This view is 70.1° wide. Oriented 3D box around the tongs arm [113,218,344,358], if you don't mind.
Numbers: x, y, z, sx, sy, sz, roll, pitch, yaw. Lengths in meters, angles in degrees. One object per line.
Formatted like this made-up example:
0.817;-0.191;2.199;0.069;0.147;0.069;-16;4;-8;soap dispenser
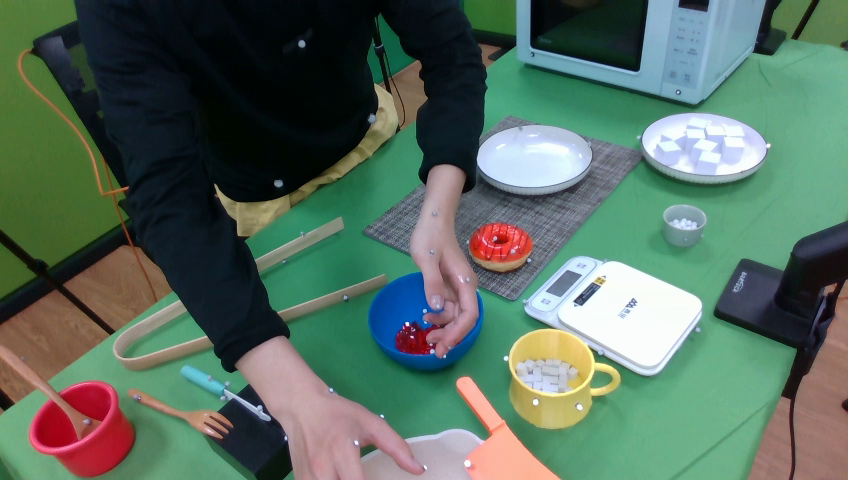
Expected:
-0.280;0.067;0.926;0.386;0.026;0.050;-29;49;-23;tongs arm

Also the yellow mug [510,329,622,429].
0.169;0.164;0.721;0.130;0.064;0.099;0;40;8;yellow mug

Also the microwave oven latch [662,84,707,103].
0.517;-0.296;1.204;0.078;0.029;0.030;27;52;35;microwave oven latch

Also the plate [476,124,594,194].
0.199;-0.142;1.093;0.209;0.038;0.208;-4;40;4;plate

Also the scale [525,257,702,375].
0.254;0.091;0.821;0.199;0.032;0.149;28;51;35;scale

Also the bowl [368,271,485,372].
0.007;0.119;0.791;0.151;0.077;0.150;-5;39;4;bowl

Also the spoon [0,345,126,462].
-0.434;0.192;0.720;0.194;0.021;0.042;47;54;-7;spoon

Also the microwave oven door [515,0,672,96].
0.343;-0.454;1.259;0.353;0.245;0.039;26;51;33;microwave oven door

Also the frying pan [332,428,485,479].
-0.089;0.306;0.564;0.487;0.103;0.306;10;41;7;frying pan

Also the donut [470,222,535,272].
0.119;0.009;0.923;0.099;0.048;0.098;-3;38;3;donut

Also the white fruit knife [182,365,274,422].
-0.245;0.188;0.747;0.205;0.027;0.016;9;41;41;white fruit knife

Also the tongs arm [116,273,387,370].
-0.237;0.114;0.869;0.389;0.028;0.028;-18;49;-13;tongs arm

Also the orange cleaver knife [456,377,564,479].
0.081;0.220;0.611;0.077;0.012;0.209;-26;43;-22;orange cleaver knife

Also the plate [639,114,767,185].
0.489;-0.157;1.074;0.207;0.039;0.206;-4;40;4;plate

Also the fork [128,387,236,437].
-0.305;0.208;0.744;0.206;0.019;0.028;3;42;36;fork

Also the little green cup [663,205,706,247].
0.396;-0.020;0.926;0.061;0.039;0.061;-4;40;4;little green cup

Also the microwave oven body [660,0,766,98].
0.472;-0.513;1.317;0.438;0.261;0.327;26;51;34;microwave oven body
